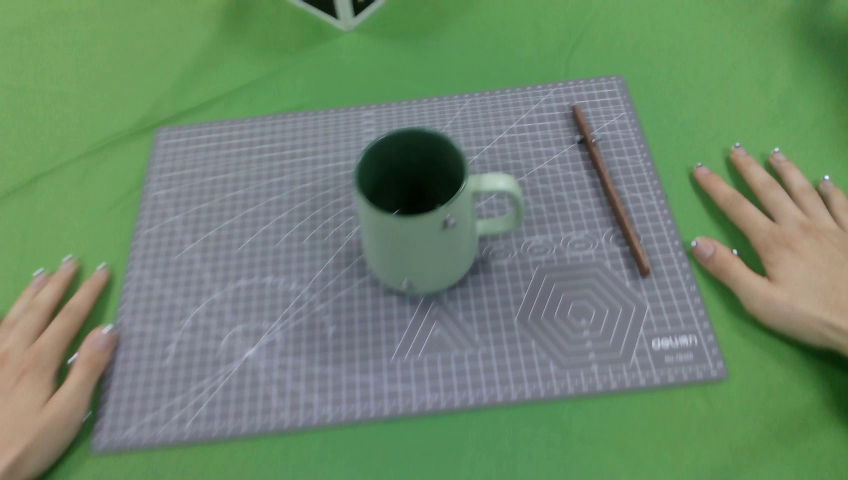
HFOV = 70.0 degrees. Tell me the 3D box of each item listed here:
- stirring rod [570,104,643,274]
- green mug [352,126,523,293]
[{"bbox_3d":[0.150,-0.048,0.507,0.006,0.014,0.174,-7,58,-6],"label":"stirring rod"},{"bbox_3d":[0.011,-0.022,0.450,0.125,0.106,0.091,-5,58,1],"label":"green mug"}]
